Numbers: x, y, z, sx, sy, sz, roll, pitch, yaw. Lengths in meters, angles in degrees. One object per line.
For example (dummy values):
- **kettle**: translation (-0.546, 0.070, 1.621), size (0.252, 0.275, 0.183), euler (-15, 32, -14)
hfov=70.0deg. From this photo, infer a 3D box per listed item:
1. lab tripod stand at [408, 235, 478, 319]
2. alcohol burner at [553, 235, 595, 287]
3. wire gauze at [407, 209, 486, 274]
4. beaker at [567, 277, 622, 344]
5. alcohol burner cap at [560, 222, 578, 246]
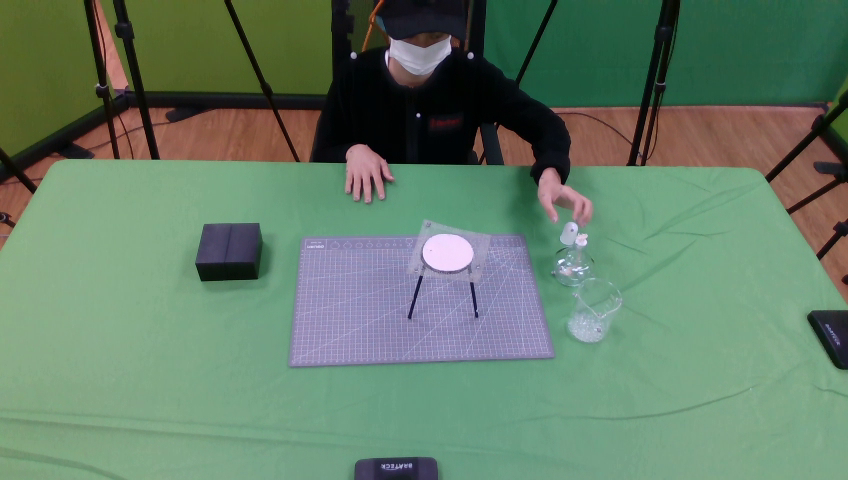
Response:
- **lab tripod stand**: translation (0.032, 0.065, 1.057), size (0.148, 0.132, 0.147), euler (1, 45, -1)
- **alcohol burner**: translation (0.282, 0.032, 1.127), size (0.078, 0.120, 0.077), euler (1, 48, -1)
- **wire gauze**: translation (0.036, 0.003, 1.001), size (0.125, 0.011, 0.120), euler (-7, 52, -1)
- **beaker**: translation (0.291, 0.127, 1.045), size (0.074, 0.101, 0.083), euler (7, 47, 4)
- **alcohol burner cap**: translation (0.295, -0.015, 1.223), size (0.034, 0.048, 0.033), euler (2, 47, -2)
